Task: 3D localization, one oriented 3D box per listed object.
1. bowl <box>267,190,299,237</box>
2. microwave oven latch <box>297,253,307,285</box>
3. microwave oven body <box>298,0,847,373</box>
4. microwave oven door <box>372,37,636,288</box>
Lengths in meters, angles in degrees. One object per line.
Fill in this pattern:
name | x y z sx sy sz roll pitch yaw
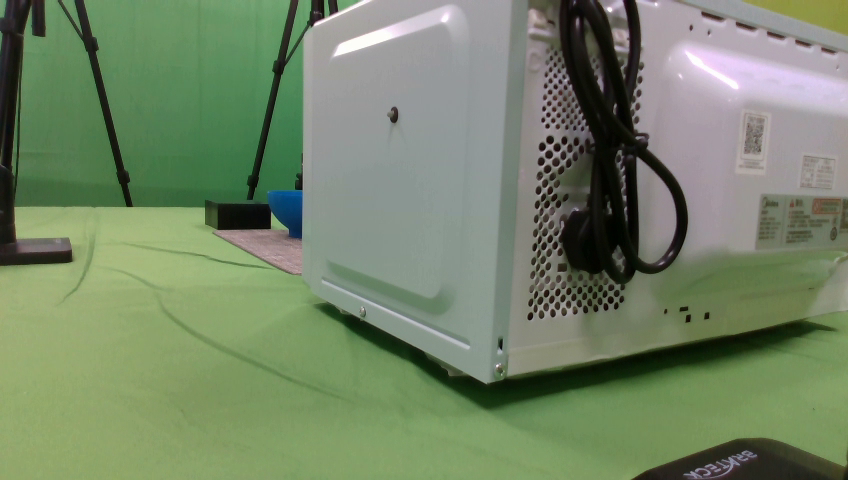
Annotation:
bowl | -0.202 -0.046 1.069 0.151 0.077 0.151 3 7 0
microwave oven latch | -0.082 0.027 0.583 0.079 0.029 0.030 -1 7 -33
microwave oven body | 0.151 -0.055 0.543 0.444 0.260 0.324 -1 7 -33
microwave oven door | 0.110 -0.080 0.687 0.358 0.243 0.039 -2 9 -33
